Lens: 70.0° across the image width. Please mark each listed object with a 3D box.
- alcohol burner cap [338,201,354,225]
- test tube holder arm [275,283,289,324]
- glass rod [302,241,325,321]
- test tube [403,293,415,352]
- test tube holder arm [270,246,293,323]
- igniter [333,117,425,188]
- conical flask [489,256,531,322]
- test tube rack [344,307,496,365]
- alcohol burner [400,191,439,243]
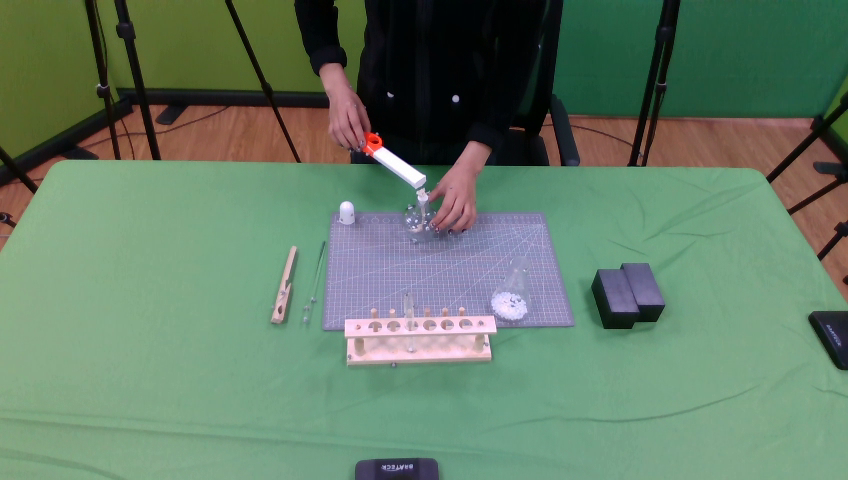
[{"bbox_3d":[-0.159,-0.056,1.224,0.034,0.048,0.033,2,46,-2],"label":"alcohol burner cap"},{"bbox_3d":[-0.253,0.111,1.077,0.010,0.015,0.087,28,38,-26],"label":"test tube holder arm"},{"bbox_3d":[-0.203,0.071,1.124,0.008,0.008,0.198,4,44,1],"label":"glass rod"},{"bbox_3d":[-0.024,0.133,0.957,0.017,0.151,0.017,0,48,0],"label":"test tube"},{"bbox_3d":[-0.259,0.076,1.106,0.013,0.015,0.177,27,38,-26],"label":"test tube holder arm"},{"bbox_3d":[-0.099,-0.183,1.227,0.057,0.025,0.275,-35,55,-25],"label":"igniter"},{"bbox_3d":[0.158,0.081,1.061,0.075,0.122,0.075,2,46,-2],"label":"conical flask"},{"bbox_3d":[-0.009,0.154,1.007,0.242,0.085,0.066,-1,46,-5],"label":"test tube rack"},{"bbox_3d":[-0.007,-0.052,1.182,0.078,0.119,0.077,3,47,-3],"label":"alcohol burner"}]
